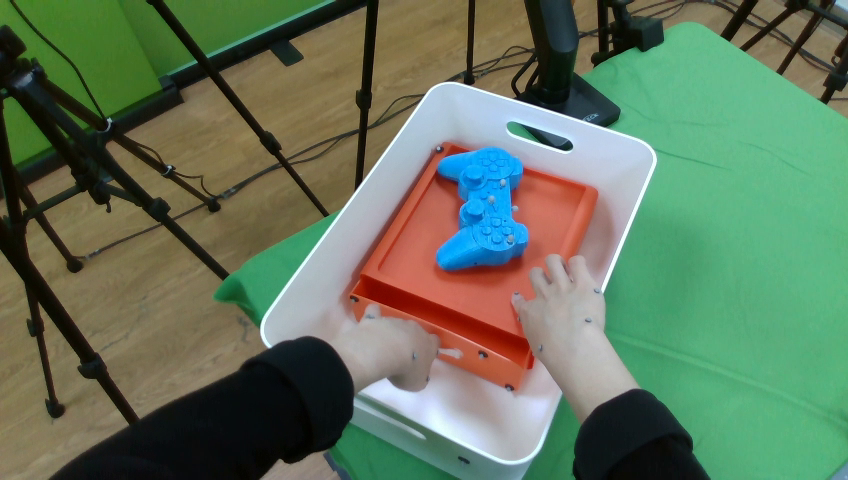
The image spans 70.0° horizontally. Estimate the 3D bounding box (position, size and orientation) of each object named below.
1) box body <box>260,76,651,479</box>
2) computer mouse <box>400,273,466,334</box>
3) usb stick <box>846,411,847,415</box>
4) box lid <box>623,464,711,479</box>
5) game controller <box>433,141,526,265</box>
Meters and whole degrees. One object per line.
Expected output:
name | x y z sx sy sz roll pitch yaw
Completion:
box body | 0.047 0.032 0.628 0.253 0.162 0.362 22 60 15
computer mouse | 0.011 0.064 0.668 0.062 0.041 0.116 -4 17 10
usb stick | 0.444 0.181 0.584 0.021 0.027 0.058 -28 63 -21
box lid | 0.188 0.387 0.481 0.263 0.015 0.367 -14 58 -6
game controller | 0.059 -0.046 0.659 0.097 0.052 0.153 2 57 0
